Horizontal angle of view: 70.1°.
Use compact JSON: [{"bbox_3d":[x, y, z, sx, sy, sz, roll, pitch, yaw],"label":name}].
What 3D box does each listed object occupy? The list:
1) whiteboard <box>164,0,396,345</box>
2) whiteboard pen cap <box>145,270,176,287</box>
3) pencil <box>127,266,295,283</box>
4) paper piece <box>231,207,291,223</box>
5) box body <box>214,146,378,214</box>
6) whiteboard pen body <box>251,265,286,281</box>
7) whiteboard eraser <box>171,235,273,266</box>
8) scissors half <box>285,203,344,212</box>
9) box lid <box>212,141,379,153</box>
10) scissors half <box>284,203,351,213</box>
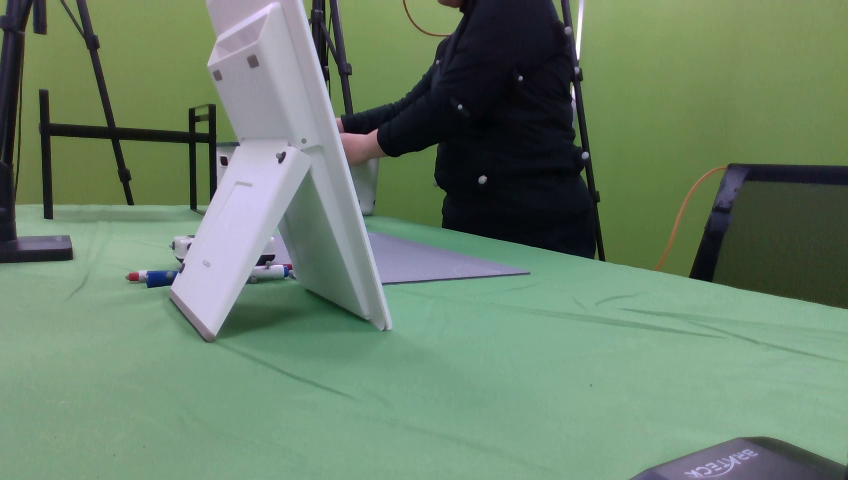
[{"bbox_3d":[-0.173,-0.053,0.511,0.144,0.305,0.216,-23,19,-26],"label":"whiteboard"},{"bbox_3d":[-0.271,0.039,0.627,0.033,0.018,0.018,-3,10,-32],"label":"whiteboard pen cap"},{"bbox_3d":[-0.231,0.037,0.690,0.195,0.012,0.012,-2,9,-34],"label":"pencil"},{"bbox_3d":[-0.395,-0.062,1.461,0.139,0.008,0.135,13,-4,-22],"label":"paper piece"},{"bbox_3d":[-0.329,-0.154,1.543,0.366,0.160,0.253,-2,9,-32],"label":"box body"},{"bbox_3d":[-0.220,0.039,0.656,0.141,0.017,0.017,-2,9,-30],"label":"whiteboard pen body"},{"bbox_3d":[-0.248,0.014,0.747,0.113,0.042,0.055,-1,9,-32],"label":"whiteboard eraser"},{"bbox_3d":[-0.280,-0.081,1.552,0.040,0.013,0.176,1,9,45],"label":"scissors half"},{"bbox_3d":[-0.328,-0.233,1.532,0.373,0.015,0.262,-2,9,-31],"label":"box lid"},{"bbox_3d":[-0.268,-0.079,1.535,0.176,0.013,0.040,-7,12,-23],"label":"scissors half"}]
